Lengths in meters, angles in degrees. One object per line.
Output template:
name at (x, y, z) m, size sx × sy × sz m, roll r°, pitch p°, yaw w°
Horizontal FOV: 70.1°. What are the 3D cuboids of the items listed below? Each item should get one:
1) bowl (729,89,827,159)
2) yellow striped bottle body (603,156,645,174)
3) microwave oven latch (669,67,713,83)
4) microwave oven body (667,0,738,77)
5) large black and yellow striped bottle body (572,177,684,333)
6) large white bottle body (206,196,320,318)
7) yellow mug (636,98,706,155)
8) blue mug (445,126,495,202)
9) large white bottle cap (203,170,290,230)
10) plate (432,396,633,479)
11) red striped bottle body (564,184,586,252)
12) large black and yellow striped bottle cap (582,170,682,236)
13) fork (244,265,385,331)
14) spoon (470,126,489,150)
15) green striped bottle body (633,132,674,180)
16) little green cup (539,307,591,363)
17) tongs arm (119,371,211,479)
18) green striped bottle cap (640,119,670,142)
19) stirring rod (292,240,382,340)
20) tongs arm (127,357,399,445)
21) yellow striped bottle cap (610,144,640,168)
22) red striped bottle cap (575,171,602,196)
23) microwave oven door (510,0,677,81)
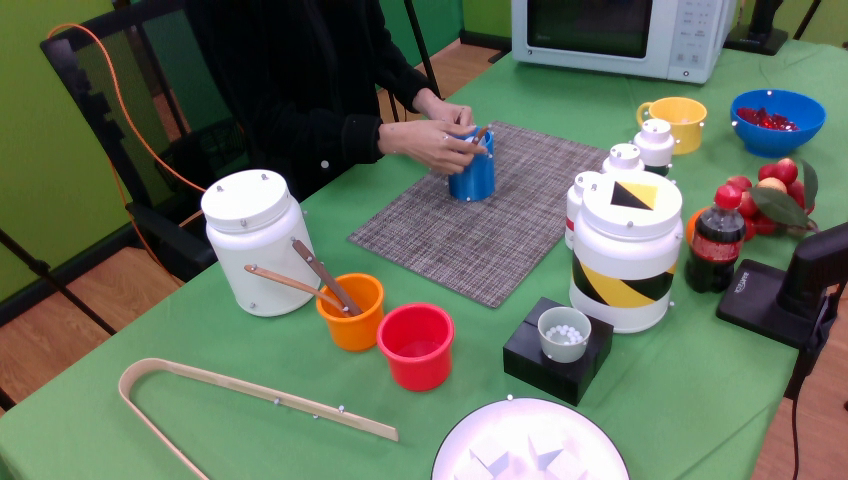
bowl at (0.615, -0.197, 1.069) m, size 0.151 × 0.077 × 0.150 m, roll -5°, pitch 40°, yaw 5°
yellow striped bottle body at (0.313, -0.089, 0.956) m, size 0.063 × 0.121 × 0.062 m, roll -4°, pitch 40°, yaw 4°
microwave oven latch at (0.556, -0.348, 1.261) m, size 0.078 × 0.029 × 0.030 m, roll 16°, pitch 46°, yaw 27°
microwave oven body at (0.462, -0.552, 1.369) m, size 0.439 × 0.261 × 0.326 m, roll 15°, pitch 45°, yaw 26°
large black and yellow striped bottle body at (0.262, 0.017, 0.788) m, size 0.131 × 0.185 × 0.130 m, roll -5°, pitch 40°, yaw 4°
large white bottle body at (-0.233, 0.008, 0.876) m, size 0.130 × 0.185 × 0.130 m, roll -4°, pitch 40°, yaw 4°
yellow mug at (0.453, -0.217, 1.128) m, size 0.100 × 0.064 × 0.129 m, roll -34°, pitch 46°, yaw -27°
blue mug at (0.077, -0.142, 1.062) m, size 0.082 × 0.106 × 0.115 m, roll -14°, pitch 40°, yaw -7°
large white bottle cap at (-0.241, -0.057, 0.822) m, size 0.115 × 0.018 × 0.114 m, roll -4°, pitch 41°, yaw 4°
plate at (0.112, 0.261, 0.634) m, size 0.209 × 0.038 × 0.208 m, roll -5°, pitch 40°, yaw 4°
red striped bottle body at (0.247, -0.041, 0.910) m, size 0.063 × 0.120 × 0.062 m, roll -3°, pitch 39°, yaw 3°
large black and yellow striped bottle cap at (0.252, -0.048, 0.735) m, size 0.115 × 0.019 × 0.114 m, roll -3°, pitch 40°, yaw 3°
fork at (-0.142, 0.078, 0.806) m, size 0.209 × 0.018 × 0.028 m, roll 30°, pitch 32°, yaw -23°
spoon at (0.081, -0.145, 0.999) m, size 0.042 × 0.194 × 0.021 m, roll -8°, pitch 72°, yaw -7°
green striped bottle body at (0.376, -0.135, 1.001) m, size 0.063 × 0.120 × 0.063 m, roll -5°, pitch 40°, yaw 5°
little green cup at (0.167, 0.114, 0.721) m, size 0.061 × 0.039 × 0.061 m, roll -4°, pitch 43°, yaw 4°
tongs arm at (-0.257, 0.256, 0.700) m, size 0.384 × 0.028 × 0.028 m, roll 24°, pitch 55°, yaw 33°
green striped bottle cap at (0.371, -0.175, 0.968) m, size 0.044 × 0.020 × 0.044 m, roll -4°, pitch 41°, yaw 4°
stirring rod at (-0.119, 0.068, 0.825) m, size 0.176 × 0.006 × 0.014 m, roll 49°, pitch 59°, yaw -3°
tongs arm at (-0.213, 0.205, 0.755) m, size 0.382 × 0.026 × 0.051 m, roll 12°, pitch 46°, yaw 23°
yellow striped bottle cap at (0.307, -0.128, 0.923) m, size 0.044 × 0.019 × 0.044 m, roll -5°, pitch 39°, yaw 5°
red striped bottle cap at (0.242, -0.081, 0.876) m, size 0.044 × 0.018 × 0.044 m, roll -5°, pitch 44°, yaw 5°
microwave oven door at (0.354, -0.478, 1.290) m, size 0.353 × 0.245 × 0.039 m, roll 15°, pitch 45°, yaw 25°
